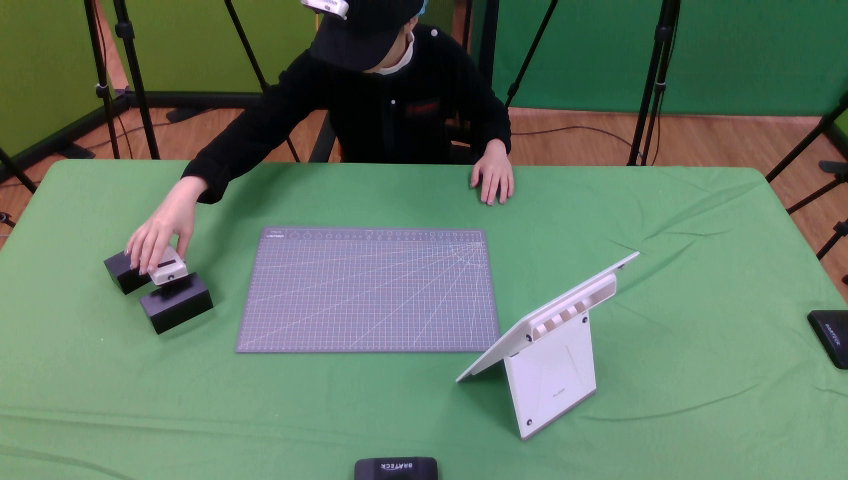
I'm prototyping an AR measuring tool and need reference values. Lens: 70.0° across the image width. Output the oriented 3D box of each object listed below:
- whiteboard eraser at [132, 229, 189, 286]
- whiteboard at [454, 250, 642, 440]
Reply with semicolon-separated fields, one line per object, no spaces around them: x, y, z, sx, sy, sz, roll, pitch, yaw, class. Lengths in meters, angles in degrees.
-0.457;0.031;1.051;0.055;0.042;0.112;-25;55;-33;whiteboard eraser
0.206;0.175;0.889;0.217;0.306;0.143;-24;72;-25;whiteboard
